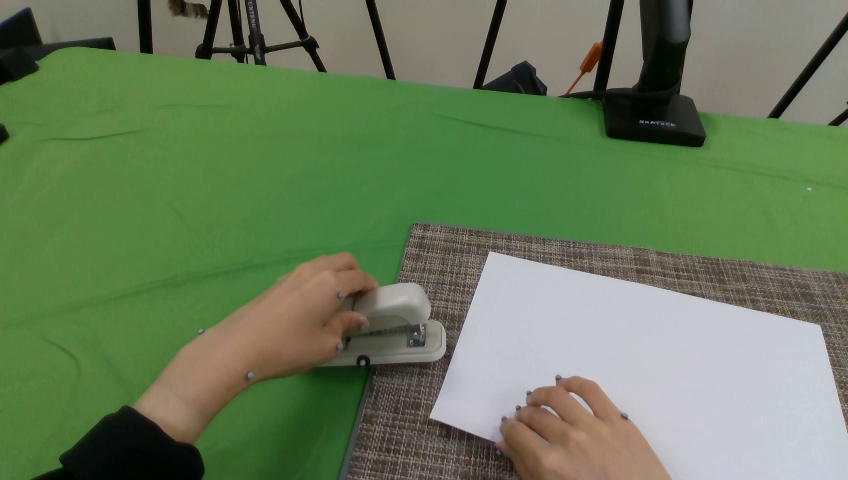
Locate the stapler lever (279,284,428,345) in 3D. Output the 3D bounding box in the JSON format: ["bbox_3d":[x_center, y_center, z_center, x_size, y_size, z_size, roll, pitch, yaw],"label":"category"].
[{"bbox_3d":[-0.055,0.058,0.466,0.118,0.040,0.026,-5,37,6],"label":"stapler lever"}]

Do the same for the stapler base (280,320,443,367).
[{"bbox_3d":[-0.051,0.077,0.482,0.130,0.024,0.041,-4,37,6],"label":"stapler base"}]
